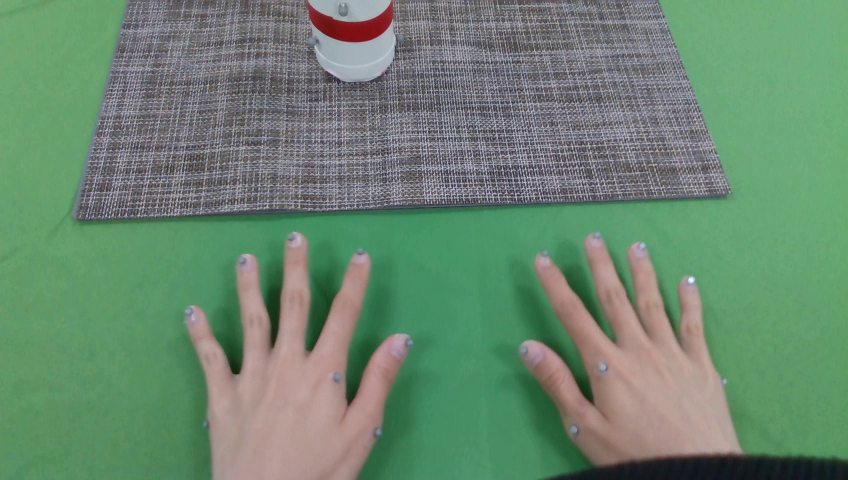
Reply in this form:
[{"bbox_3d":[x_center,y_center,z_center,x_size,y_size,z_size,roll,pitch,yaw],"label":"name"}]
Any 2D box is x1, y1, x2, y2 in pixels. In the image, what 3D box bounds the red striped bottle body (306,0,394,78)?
[{"bbox_3d":[-0.054,-0.179,0.429,0.063,0.120,0.062,1,61,-1],"label":"red striped bottle body"}]
